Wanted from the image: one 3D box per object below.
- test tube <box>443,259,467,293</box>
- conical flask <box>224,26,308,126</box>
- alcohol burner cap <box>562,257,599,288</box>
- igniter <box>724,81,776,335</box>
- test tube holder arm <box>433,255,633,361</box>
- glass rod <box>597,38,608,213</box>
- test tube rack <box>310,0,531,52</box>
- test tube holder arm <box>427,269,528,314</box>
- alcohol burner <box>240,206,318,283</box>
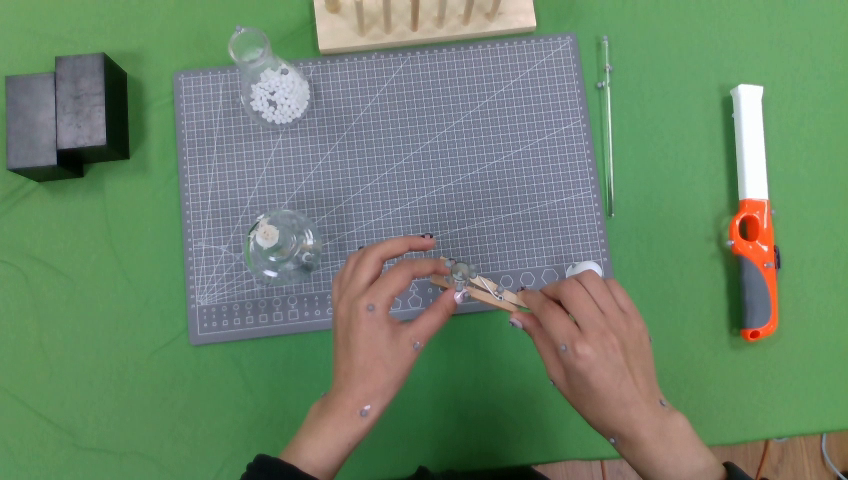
[{"bbox_3d":[0.025,0.033,0.519,0.017,0.150,0.017,0,81,1],"label":"test tube"},{"bbox_3d":[-0.163,-0.168,0.607,0.075,0.122,0.075,0,82,-1],"label":"conical flask"},{"bbox_3d":[0.165,0.032,0.629,0.034,0.048,0.033,0,81,-1],"label":"alcohol burner cap"},{"bbox_3d":[0.349,-0.036,0.653,0.057,0.025,0.275,3,82,-11],"label":"igniter"},{"bbox_3d":[0.089,0.056,0.499,0.178,0.015,0.013,25,87,5],"label":"test tube holder arm"},{"bbox_3d":[0.198,-0.128,0.671,0.008,0.008,0.199,0,85,-2],"label":"glass rod"},{"bbox_3d":[-0.003,-0.263,0.646,0.242,0.085,0.066,-7,82,-2],"label":"test tube rack"},{"bbox_3d":[0.045,0.043,0.503,0.088,0.015,0.010,19,86,5],"label":"test tube holder arm"},{"bbox_3d":[-0.145,0.001,0.590,0.078,0.119,0.077,0,81,1],"label":"alcohol burner"}]
